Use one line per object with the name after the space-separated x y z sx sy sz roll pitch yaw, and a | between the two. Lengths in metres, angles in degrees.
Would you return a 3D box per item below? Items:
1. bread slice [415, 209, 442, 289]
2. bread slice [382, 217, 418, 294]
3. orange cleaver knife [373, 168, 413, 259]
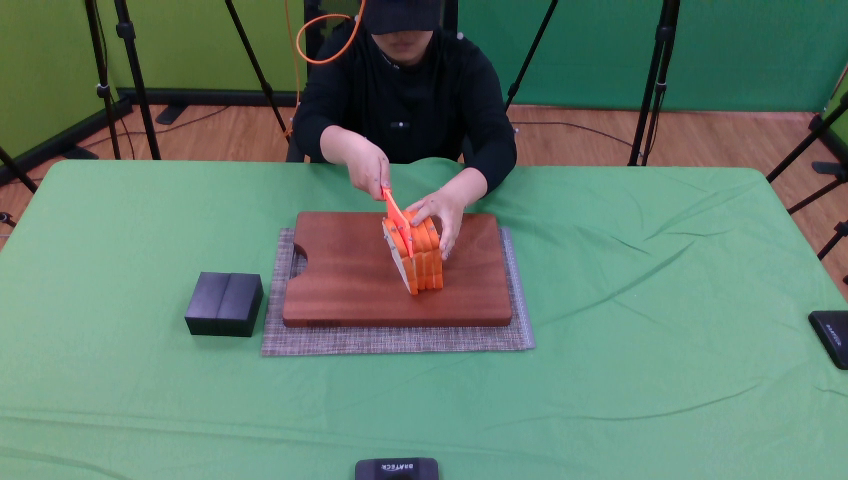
0.008 0.012 1.074 0.018 0.135 0.106 -15 51 -11 | bread slice
-0.045 0.022 1.063 0.019 0.132 0.104 -23 48 -9 | bread slice
-0.056 -0.051 1.067 0.012 0.077 0.210 -13 42 -14 | orange cleaver knife
